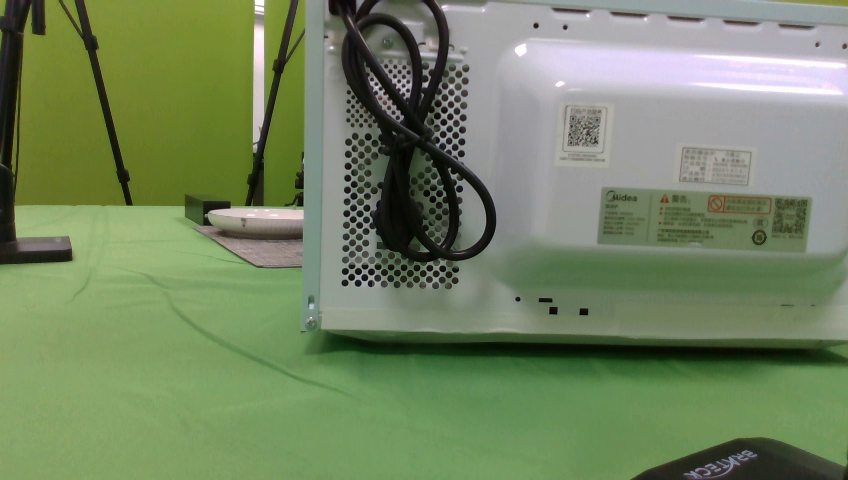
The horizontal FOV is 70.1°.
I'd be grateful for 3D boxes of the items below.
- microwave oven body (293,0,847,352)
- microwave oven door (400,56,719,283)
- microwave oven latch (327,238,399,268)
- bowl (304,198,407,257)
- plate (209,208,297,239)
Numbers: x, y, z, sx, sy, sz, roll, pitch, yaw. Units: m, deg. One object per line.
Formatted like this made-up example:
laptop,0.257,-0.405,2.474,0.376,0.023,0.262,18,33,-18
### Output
microwave oven body,0.122,-0.055,0.550,0.442,0.260,0.325,3,7,-5
microwave oven door,0.155,-0.078,0.698,0.356,0.243,0.039,2,8,-5
microwave oven latch,-0.069,0.015,0.694,0.079,0.029,0.030,3,7,-3
bowl,-0.101,-0.019,0.895,0.151,0.077,0.151,2,8,0
plate,-0.271,-0.029,1.074,0.208,0.039,0.207,3,7,0
